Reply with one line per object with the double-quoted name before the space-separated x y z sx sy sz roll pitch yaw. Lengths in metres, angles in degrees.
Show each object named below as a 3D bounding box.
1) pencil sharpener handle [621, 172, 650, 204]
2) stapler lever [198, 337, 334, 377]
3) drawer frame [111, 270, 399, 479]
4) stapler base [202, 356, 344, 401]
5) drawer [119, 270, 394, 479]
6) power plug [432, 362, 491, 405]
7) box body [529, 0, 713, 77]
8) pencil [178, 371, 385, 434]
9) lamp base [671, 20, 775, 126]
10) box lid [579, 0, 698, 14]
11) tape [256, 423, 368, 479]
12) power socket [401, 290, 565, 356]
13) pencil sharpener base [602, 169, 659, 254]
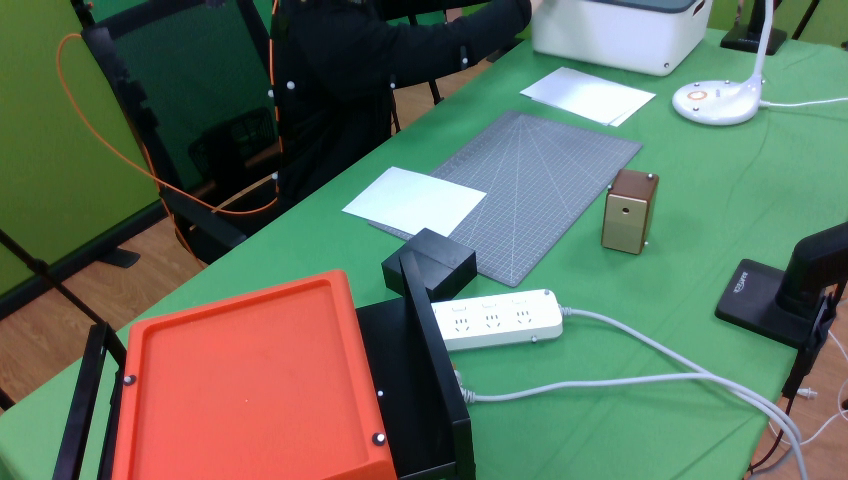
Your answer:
"pencil sharpener handle" 0.328 -0.086 0.940 0.036 0.068 0.030 30 49 8
"stapler lever" -0.142 0.105 0.541 0.118 0.040 0.026 -3 43 4
"drawer frame" -0.140 0.140 0.506 0.202 0.083 0.212 -15 41 -9
"stapler base" -0.141 0.123 0.557 0.130 0.024 0.041 -2 43 3
"drawer" -0.141 0.139 0.509 0.195 0.073 0.210 -14 42 -8
"power plug" 0.044 0.182 0.759 0.073 0.035 0.052 24 41 -19
"box body" 0.455 -0.527 1.414 0.361 0.161 0.255 23 49 31
"pencil" -0.128 0.141 0.534 0.194 0.012 0.012 14 44 7
"lamp base" 0.582 -0.332 1.153 0.179 0.181 0.160 2 41 7
"box lid" 0.446 -0.583 1.366 0.368 0.015 0.264 23 48 31
"tape" -0.121 0.262 0.659 0.117 0.053 0.116 -4 40 4
"power socket" 0.080 0.113 0.821 0.227 0.033 0.072 -6 41 0
"pencil sharpener base" 0.312 -0.044 0.913 0.061 0.107 0.077 14 45 24
